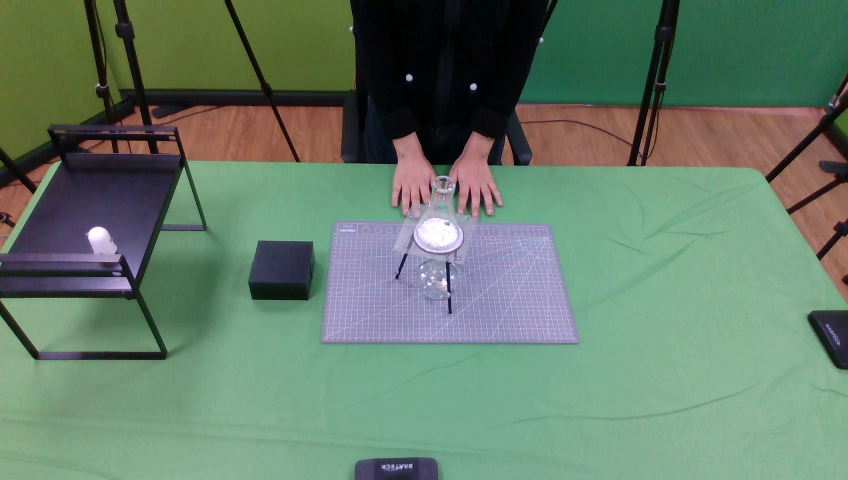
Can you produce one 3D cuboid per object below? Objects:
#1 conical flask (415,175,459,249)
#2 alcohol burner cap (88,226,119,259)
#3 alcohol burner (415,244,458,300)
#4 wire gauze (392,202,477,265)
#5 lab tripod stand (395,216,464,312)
[{"bbox_3d":[0.026,-0.049,0.993,0.075,0.122,0.075,3,47,-3],"label":"conical flask"},{"bbox_3d":[-0.476,0.002,0.895,0.034,0.048,0.033,1,47,-1],"label":"alcohol burner cap"},{"bbox_3d":[0.024,0.051,1.084,0.078,0.119,0.077,3,45,-3],"label":"alcohol burner"},{"bbox_3d":[0.021,-0.011,1.037,0.121,0.011,0.124,13,49,8],"label":"wire gauze"},{"bbox_3d":[0.023,0.037,1.084,0.148,0.132,0.147,4,47,-4],"label":"lab tripod stand"}]
